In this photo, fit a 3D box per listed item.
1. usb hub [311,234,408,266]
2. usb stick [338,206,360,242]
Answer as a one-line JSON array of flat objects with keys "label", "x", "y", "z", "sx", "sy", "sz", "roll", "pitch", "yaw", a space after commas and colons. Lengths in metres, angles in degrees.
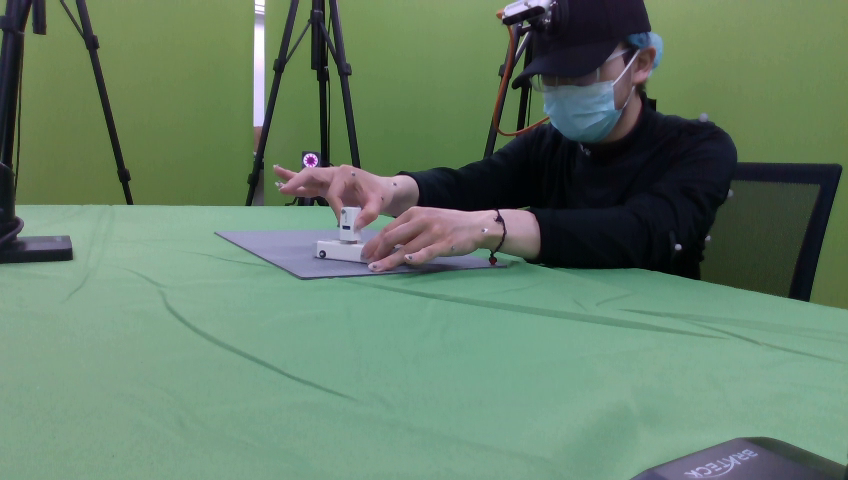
[{"label": "usb hub", "x": -0.089, "y": 0.012, "z": 0.828, "sx": 0.125, "sy": 0.025, "sz": 0.049, "roll": 6, "pitch": 15, "yaw": 20}, {"label": "usb stick", "x": -0.100, "y": -0.016, "z": 0.812, "sx": 0.021, "sy": 0.059, "sz": 0.027, "roll": 6, "pitch": 11, "yaw": 20}]
